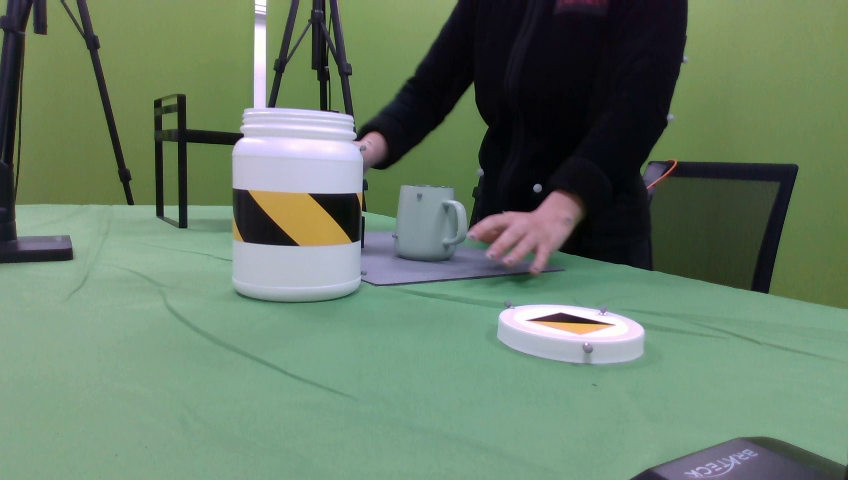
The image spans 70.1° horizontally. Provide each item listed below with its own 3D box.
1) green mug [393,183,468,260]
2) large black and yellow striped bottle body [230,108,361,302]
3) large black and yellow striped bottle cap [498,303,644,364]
[{"bbox_3d":[0.014,-0.026,0.858,0.093,0.105,0.124,-4,9,-42],"label":"green mug"},{"bbox_3d":[-0.131,-0.038,0.621,0.131,0.184,0.130,2,7,0],"label":"large black and yellow striped bottle body"},{"bbox_3d":[0.117,0.072,0.486,0.115,0.019,0.115,2,8,0],"label":"large black and yellow striped bottle cap"}]
